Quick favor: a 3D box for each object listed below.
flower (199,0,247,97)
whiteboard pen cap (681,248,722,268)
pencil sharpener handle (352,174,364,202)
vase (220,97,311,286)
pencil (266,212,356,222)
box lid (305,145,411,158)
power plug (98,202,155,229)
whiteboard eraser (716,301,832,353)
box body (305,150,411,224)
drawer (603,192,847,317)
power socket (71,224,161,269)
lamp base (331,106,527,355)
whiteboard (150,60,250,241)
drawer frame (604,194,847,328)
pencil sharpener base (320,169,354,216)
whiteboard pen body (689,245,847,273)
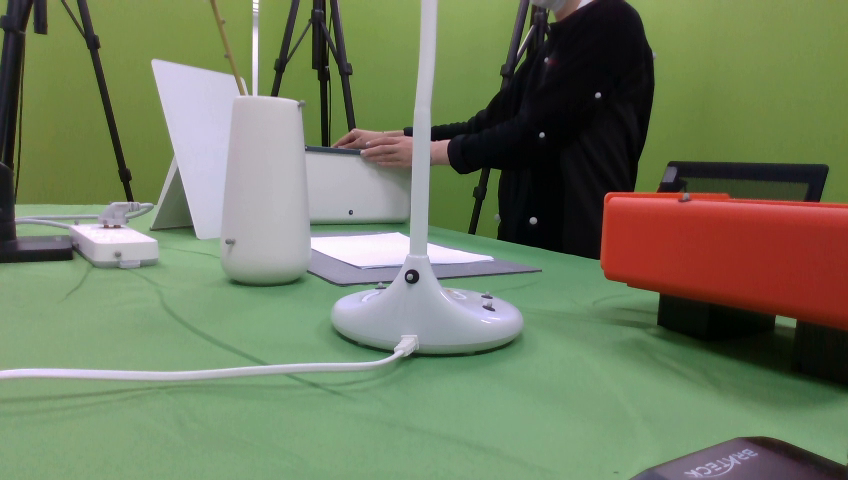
[{"bbox_3d":[-0.187,-0.133,0.648,0.038,0.362,0.044,-1,21,42],"label":"flower"},{"bbox_3d":[0.250,0.017,0.544,0.033,0.018,0.018,2,7,25],"label":"whiteboard pen cap"},{"bbox_3d":[-0.157,-0.125,1.450,0.031,0.068,0.036,2,19,-11],"label":"pencil sharpener handle"},{"bbox_3d":[-0.172,-0.052,0.662,0.098,0.200,0.098,3,9,0],"label":"vase"},{"bbox_3d":[-0.244,-0.049,1.319,0.195,0.012,0.012,4,7,-12],"label":"pencil"},{"bbox_3d":[-0.228,-0.200,1.362,0.373,0.015,0.262,-1,8,-33],"label":"box lid"},{"bbox_3d":[-0.416,-0.027,0.848,0.073,0.052,0.035,0,8,-28],"label":"power plug"},{"bbox_3d":[0.255,0.042,0.472,0.112,0.042,0.056,43,19,31],"label":"whiteboard eraser"},{"bbox_3d":[-0.230,-0.126,1.372,0.366,0.160,0.253,-2,8,-33],"label":"box body"},{"bbox_3d":[0.293,0.002,0.500,0.195,0.073,0.210,-1,8,-34],"label":"drawer"},{"bbox_3d":[-0.408,0.004,0.793,0.072,0.032,0.225,-2,8,-38],"label":"power socket"},{"bbox_3d":[0.006,-0.012,0.478,0.161,0.180,0.179,2,10,2],"label":"lamp base"},{"bbox_3d":[-0.408,-0.139,1.093,0.143,0.305,0.218,-15,-1,26],"label":"whiteboard"},{"bbox_3d":[0.297,0.007,0.497,0.203,0.082,0.212,-1,7,-34],"label":"drawer frame"},{"bbox_3d":[-0.207,-0.113,1.438,0.077,0.107,0.061,2,6,-11],"label":"pencil sharpener base"},{"bbox_3d":[0.303,0.015,0.519,0.140,0.017,0.017,5,8,25],"label":"whiteboard pen body"}]
